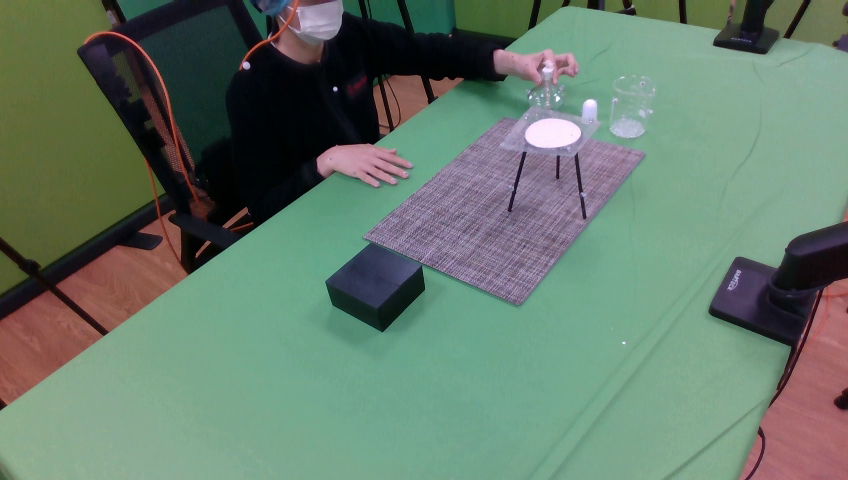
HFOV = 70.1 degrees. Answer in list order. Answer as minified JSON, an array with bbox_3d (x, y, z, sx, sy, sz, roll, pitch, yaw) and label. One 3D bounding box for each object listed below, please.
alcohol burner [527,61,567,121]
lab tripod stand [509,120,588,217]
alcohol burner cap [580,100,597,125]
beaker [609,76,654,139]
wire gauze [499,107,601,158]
[{"bbox_3d":[0.243,-0.298,1.199,0.078,0.120,0.077,-6,43,6],"label":"alcohol burner"},{"bbox_3d":[0.207,-0.114,0.983,0.148,0.132,0.147,-5,42,5],"label":"lab tripod stand"},{"bbox_3d":[0.331,-0.258,1.210,0.034,0.048,0.033,-4,40,4],"label":"alcohol burner cap"},{"bbox_3d":[0.393,-0.248,1.144,0.074,0.101,0.083,-32,47,-24],"label":"beaker"},{"bbox_3d":[0.198,-0.168,0.943,0.120,0.011,0.125,17,47,27],"label":"wire gauze"}]
